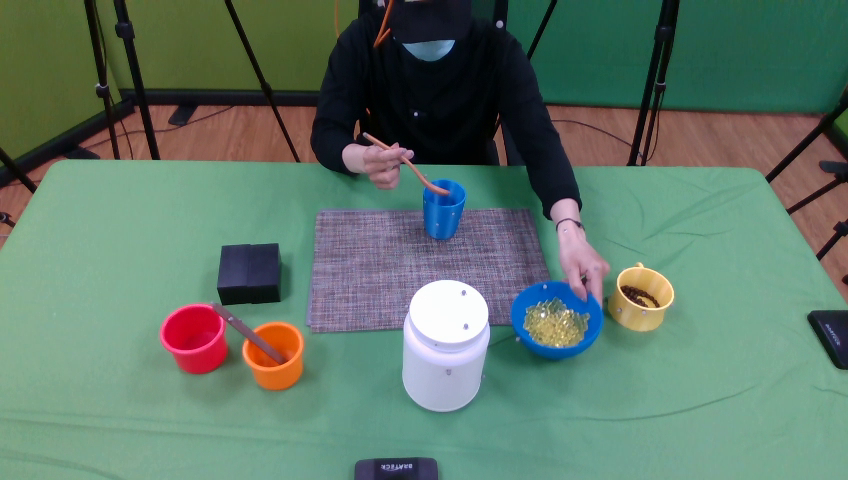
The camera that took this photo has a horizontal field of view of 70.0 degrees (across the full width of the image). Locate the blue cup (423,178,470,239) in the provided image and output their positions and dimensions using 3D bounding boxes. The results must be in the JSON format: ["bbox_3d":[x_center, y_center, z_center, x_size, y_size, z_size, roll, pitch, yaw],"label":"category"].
[{"bbox_3d":[0.036,-0.056,1.192,0.093,0.101,0.092,3,46,-3],"label":"blue cup"}]

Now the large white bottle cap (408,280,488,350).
[{"bbox_3d":[0.034,0.105,0.866,0.115,0.018,0.114,2,46,-1],"label":"large white bottle cap"}]

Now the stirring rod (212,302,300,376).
[{"bbox_3d":[-0.261,0.156,0.948,0.177,0.006,0.014,46,45,-20],"label":"stirring rod"}]

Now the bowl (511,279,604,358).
[{"bbox_3d":[0.223,0.146,1.019,0.151,0.077,0.150,-6,41,5],"label":"bowl"}]

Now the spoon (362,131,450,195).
[{"bbox_3d":[-0.033,-0.140,1.106,0.194,0.021,0.041,39,10,-12],"label":"spoon"}]

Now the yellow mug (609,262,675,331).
[{"bbox_3d":[0.393,0.094,1.103,0.100,0.064,0.130,7,45,4],"label":"yellow mug"}]

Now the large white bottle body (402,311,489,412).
[{"bbox_3d":[0.031,0.163,0.928,0.131,0.185,0.130,2,46,-2],"label":"large white bottle body"}]
